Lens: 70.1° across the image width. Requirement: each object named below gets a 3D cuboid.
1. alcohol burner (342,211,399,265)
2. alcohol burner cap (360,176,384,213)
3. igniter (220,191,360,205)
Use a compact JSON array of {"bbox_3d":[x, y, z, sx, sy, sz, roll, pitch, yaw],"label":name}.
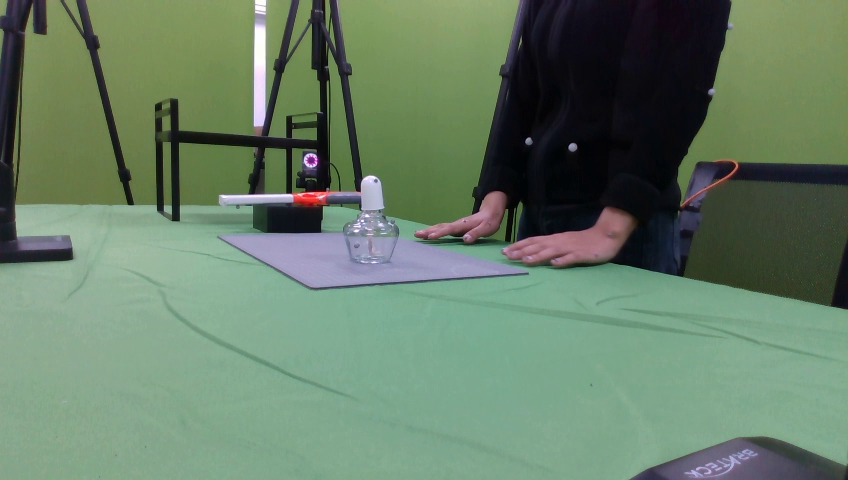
[{"bbox_3d":[-0.073,-0.027,0.818,0.078,0.119,0.078,1,6,0],"label":"alcohol burner"},{"bbox_3d":[-0.071,-0.062,0.814,0.034,0.048,0.034,-2,12,1],"label":"alcohol burner cap"},{"bbox_3d":[-0.243,-0.079,1.152,0.278,0.025,0.057,-3,12,-26],"label":"igniter"}]
